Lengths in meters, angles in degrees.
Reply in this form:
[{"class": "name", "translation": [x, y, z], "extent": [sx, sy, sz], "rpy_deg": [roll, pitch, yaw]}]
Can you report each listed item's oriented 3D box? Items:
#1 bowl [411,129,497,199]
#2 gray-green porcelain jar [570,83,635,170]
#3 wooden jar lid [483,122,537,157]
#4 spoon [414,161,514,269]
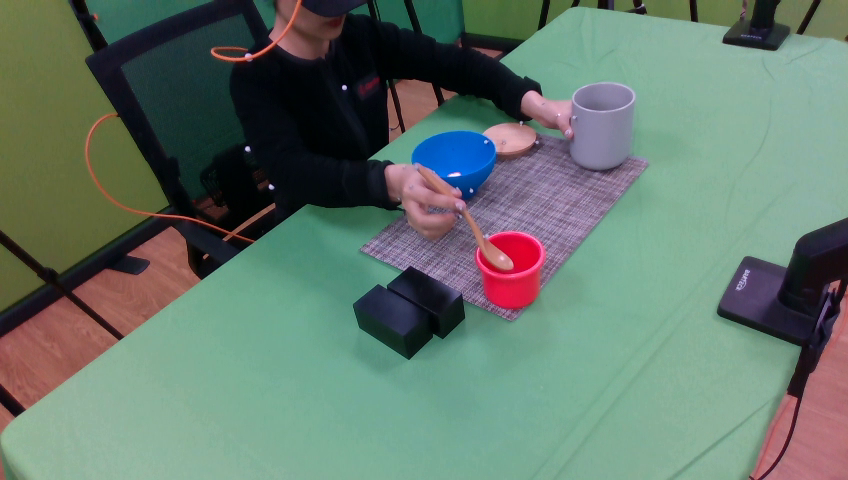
[{"class": "bowl", "translation": [0.056, -0.124, 1.070], "extent": [0.151, 0.077, 0.150], "rpy_deg": [-6, 40, 5]}, {"class": "gray-green porcelain jar", "translation": [0.313, -0.197, 1.069], "extent": [0.106, 0.127, 0.105], "rpy_deg": [-6, 40, 5]}, {"class": "wooden jar lid", "translation": [0.165, -0.195, 1.177], "extent": [0.108, 0.021, 0.108], "rpy_deg": [-4, 40, 4]}, {"class": "spoon", "translation": [0.053, -0.032, 0.785], "extent": [0.021, 0.194, 0.041], "rpy_deg": [-31, 19, 27]}]
